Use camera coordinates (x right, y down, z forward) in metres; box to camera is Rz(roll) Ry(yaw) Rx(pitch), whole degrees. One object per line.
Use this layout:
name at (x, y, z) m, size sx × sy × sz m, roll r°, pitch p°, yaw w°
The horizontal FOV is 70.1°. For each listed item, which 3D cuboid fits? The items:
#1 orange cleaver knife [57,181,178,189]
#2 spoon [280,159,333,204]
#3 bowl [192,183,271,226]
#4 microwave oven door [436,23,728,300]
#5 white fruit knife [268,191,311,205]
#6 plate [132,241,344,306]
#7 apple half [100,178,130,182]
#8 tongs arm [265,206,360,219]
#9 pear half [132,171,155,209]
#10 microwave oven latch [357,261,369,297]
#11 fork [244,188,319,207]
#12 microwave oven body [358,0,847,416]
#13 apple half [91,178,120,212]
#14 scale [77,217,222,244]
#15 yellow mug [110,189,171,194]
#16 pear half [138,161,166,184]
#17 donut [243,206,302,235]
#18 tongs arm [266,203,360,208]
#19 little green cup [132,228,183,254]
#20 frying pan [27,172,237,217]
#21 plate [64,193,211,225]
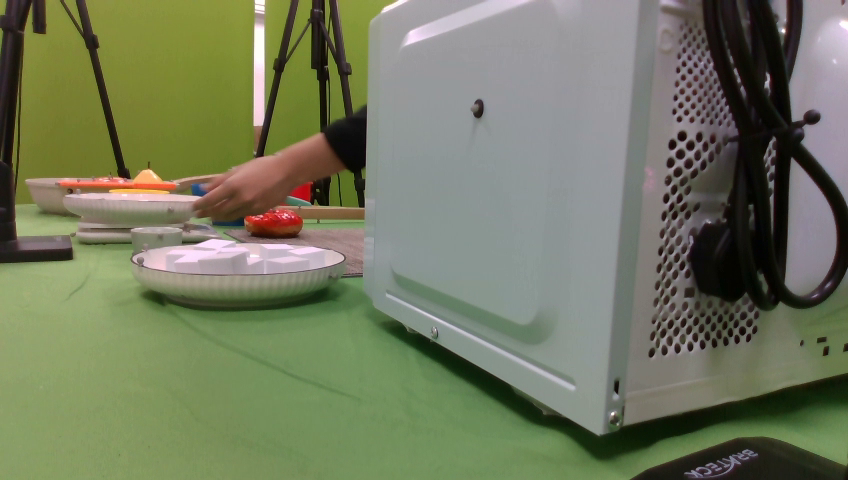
orange cleaver knife at (-0.600, -0.109, 1.189) m, size 0.212 × 0.012 × 0.077 m, roll -1°, pitch 11°, yaw -26°
spoon at (-0.317, -0.159, 1.640) m, size 0.194 × 0.022 × 0.041 m, roll -49°, pitch 32°, yaw -20°
bowl at (-0.382, -0.071, 1.202) m, size 0.151 × 0.077 × 0.151 m, roll 3°, pitch 7°, yaw 0°
microwave oven door at (0.180, -0.073, 0.621) m, size 0.358 × 0.243 × 0.039 m, roll -2°, pitch 9°, yaw -29°
white fruit knife at (-0.364, -0.105, 1.464) m, size 0.208 × 0.027 × 0.016 m, roll 15°, pitch 0°, yaw -34°
plate at (-0.187, 0.033, 0.625) m, size 0.208 × 0.039 × 0.207 m, roll 2°, pitch 7°, yaw 0°
apple half at (-0.638, -0.093, 1.266) m, size 0.053 × 0.074 × 0.081 m, roll 7°, pitch 5°, yaw 10°
tongs arm at (-0.173, -0.061, 1.362) m, size 0.387 × 0.026 × 0.050 m, roll -1°, pitch 4°, yaw -31°
pear half at (-0.636, -0.113, 1.362) m, size 0.031 × 0.088 × 0.070 m, roll 3°, pitch 13°, yaw 1°
microwave oven latch at (-0.019, 0.033, 0.530) m, size 0.079 × 0.029 × 0.030 m, roll -1°, pitch 7°, yaw -26°
fork at (-0.356, -0.105, 1.526) m, size 0.208 × 0.018 × 0.028 m, roll 16°, pitch -6°, yaw -41°
microwave oven body at (0.211, -0.047, 0.474) m, size 0.444 × 0.260 × 0.324 m, roll -1°, pitch 7°, yaw -28°
apple half at (-0.677, -0.096, 1.271) m, size 0.033 × 0.081 × 0.081 m, roll 7°, pitch 8°, yaw 10°
scale at (-0.434, -0.018, 0.963) m, size 0.202 × 0.031 × 0.148 m, roll -1°, pitch 8°, yaw -27°
yellow mug at (-0.519, -0.055, 1.081) m, size 0.099 × 0.064 × 0.131 m, roll 7°, pitch 9°, yaw 26°
pear half at (-0.602, -0.120, 1.354) m, size 0.056 × 0.110 × 0.076 m, roll 4°, pitch 11°, yaw 6°
donut at (-0.261, -0.032, 1.044) m, size 0.099 × 0.048 × 0.099 m, roll 3°, pitch 9°, yaw 0°
tongs arm at (-0.209, -0.070, 1.439) m, size 0.389 × 0.027 × 0.028 m, roll 1°, pitch 0°, yaw -16°
little green cup at (-0.342, 0.006, 0.779) m, size 0.061 × 0.038 × 0.061 m, roll 2°, pitch 8°, yaw 0°
frying pan at (-0.624, -0.118, 1.387) m, size 0.305 × 0.102 × 0.490 m, roll 8°, pitch 17°, yaw 32°
plate at (-0.446, -0.050, 0.952) m, size 0.209 × 0.038 × 0.209 m, roll 2°, pitch 7°, yaw 0°
